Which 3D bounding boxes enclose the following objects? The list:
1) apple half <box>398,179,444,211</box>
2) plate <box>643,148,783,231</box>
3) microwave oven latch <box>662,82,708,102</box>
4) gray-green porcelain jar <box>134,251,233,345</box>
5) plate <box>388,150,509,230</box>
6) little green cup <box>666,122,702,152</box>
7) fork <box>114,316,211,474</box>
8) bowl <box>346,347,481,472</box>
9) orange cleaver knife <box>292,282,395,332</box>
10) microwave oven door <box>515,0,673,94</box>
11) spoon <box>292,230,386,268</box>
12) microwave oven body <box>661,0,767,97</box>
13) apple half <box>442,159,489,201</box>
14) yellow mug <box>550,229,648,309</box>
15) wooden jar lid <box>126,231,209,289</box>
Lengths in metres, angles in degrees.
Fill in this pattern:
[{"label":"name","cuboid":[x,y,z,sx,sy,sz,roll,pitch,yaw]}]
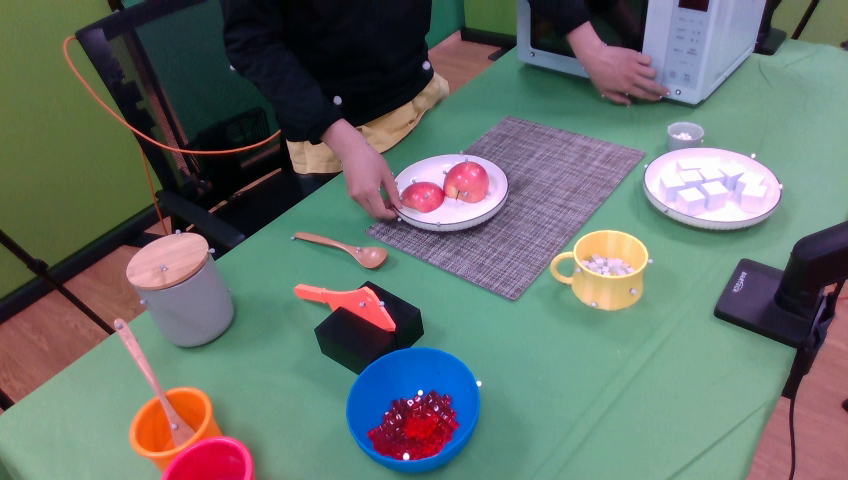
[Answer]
[{"label":"apple half","cuboid":[-0.004,-0.088,1.045,0.081,0.033,0.081,-1,42,1]},{"label":"plate","cuboid":[0.464,-0.080,0.986,0.207,0.039,0.206,-4,41,4]},{"label":"microwave oven latch","cuboid":[0.517,-0.298,1.202,0.078,0.029,0.030,27,52,34]},{"label":"gray-green porcelain jar","cuboid":[-0.334,0.076,0.849,0.106,0.127,0.105,-4,41,4]},{"label":"plate","cuboid":[0.044,-0.083,1.042,0.209,0.038,0.208,-4,41,4]},{"label":"little green cup","cuboid":[0.471,-0.184,1.102,0.061,0.039,0.061,-5,41,5]},{"label":"fork","cuboid":[-0.309,0.179,0.708,0.028,0.018,0.207,-30,89,-22]},{"label":"bowl","cuboid":[-0.008,0.205,0.691,0.151,0.077,0.150,-4,40,4]},{"label":"orange cleaver knife","cuboid":[-0.116,0.091,0.835,0.209,0.077,0.012,2,32,48]},{"label":"microwave oven door","cuboid":[0.344,-0.458,1.256,0.353,0.245,0.039,26,51,33]},{"label":"spoon","cuboid":[-0.141,0.007,0.982,0.192,0.022,0.041,17,67,25]},{"label":"microwave oven body","cuboid":[0.473,-0.517,1.314,0.438,0.261,0.327,26,51,34]},{"label":"apple half","cuboid":[0.074,-0.110,1.047,0.080,0.053,0.075,21,45,30]},{"label":"yellow mug","cuboid":[0.245,0.040,0.857,0.130,0.064,0.099,1,42,11]},{"label":"wooden jar lid","cuboid":[-0.340,0.030,0.809,0.108,0.021,0.108,-5,39,5]}]
